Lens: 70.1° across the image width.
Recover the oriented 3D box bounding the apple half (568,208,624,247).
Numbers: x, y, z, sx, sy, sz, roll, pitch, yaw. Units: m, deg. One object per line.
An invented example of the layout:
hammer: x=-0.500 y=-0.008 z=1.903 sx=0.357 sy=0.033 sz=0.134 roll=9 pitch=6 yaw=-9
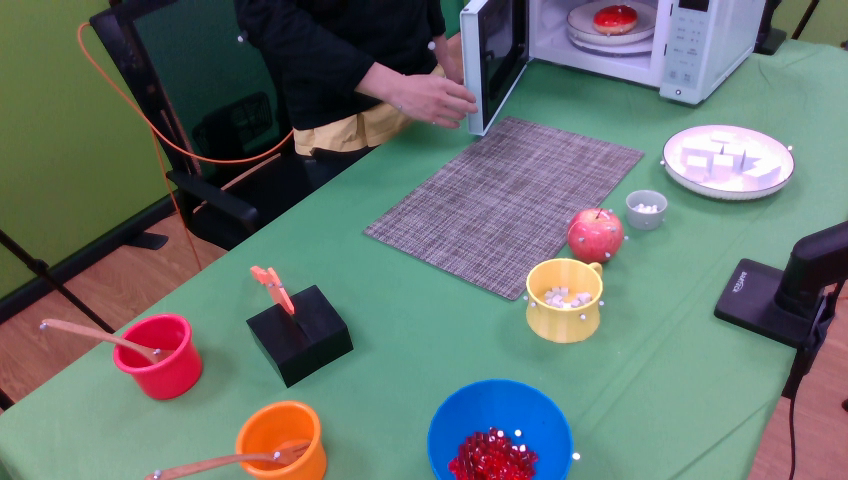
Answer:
apple half: x=0.259 y=-0.014 z=0.914 sx=0.080 sy=0.075 sz=0.053 roll=0 pitch=36 yaw=15

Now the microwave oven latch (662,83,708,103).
microwave oven latch: x=0.517 y=-0.296 z=1.204 sx=0.078 sy=0.029 sz=0.030 roll=27 pitch=52 yaw=35

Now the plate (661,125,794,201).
plate: x=0.513 y=-0.128 z=1.035 sx=0.207 sy=0.039 sz=0.206 roll=-4 pitch=40 yaw=4

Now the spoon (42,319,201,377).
spoon: x=-0.385 y=0.135 z=0.779 sx=0.195 sy=0.021 sz=0.041 roll=28 pitch=36 yaw=-26

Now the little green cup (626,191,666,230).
little green cup: x=0.352 y=-0.046 z=0.963 sx=0.061 sy=0.039 sz=0.061 roll=-4 pitch=40 yaw=4

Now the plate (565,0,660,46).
plate: x=0.427 y=-0.489 z=1.376 sx=0.209 sy=0.038 sz=0.208 roll=-5 pitch=40 yaw=5

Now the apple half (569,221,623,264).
apple half: x=0.251 y=0.010 z=0.884 sx=0.081 sy=0.081 sz=0.032 roll=3 pitch=37 yaw=12

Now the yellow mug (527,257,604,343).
yellow mug: x=0.201 y=0.072 z=0.825 sx=0.131 sy=0.064 sz=0.099 roll=-32 pitch=46 yaw=-27

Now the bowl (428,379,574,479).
bowl: x=0.082 y=0.233 z=0.644 sx=0.151 sy=0.077 sz=0.150 roll=-4 pitch=39 yaw=4

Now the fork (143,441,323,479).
fork: x=-0.189 y=0.231 z=0.631 sx=0.028 sy=0.018 sz=0.209 roll=35 pitch=13 yaw=37

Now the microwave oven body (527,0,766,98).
microwave oven body: x=0.472 y=-0.513 z=1.317 sx=0.438 sy=0.261 sz=0.327 roll=25 pitch=51 yaw=34

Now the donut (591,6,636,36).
donut: x=0.427 y=-0.496 z=1.366 sx=0.099 sy=0.048 sz=0.098 roll=-5 pitch=40 yaw=5

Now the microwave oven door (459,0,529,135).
microwave oven door: x=0.153 y=-0.410 z=1.237 sx=0.039 sy=0.245 sz=0.356 roll=11 pitch=44 yaw=20

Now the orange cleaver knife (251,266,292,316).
orange cleaver knife: x=-0.221 y=0.071 z=0.873 sx=0.012 sy=0.077 sz=0.210 roll=-25 pitch=11 yaw=-21
